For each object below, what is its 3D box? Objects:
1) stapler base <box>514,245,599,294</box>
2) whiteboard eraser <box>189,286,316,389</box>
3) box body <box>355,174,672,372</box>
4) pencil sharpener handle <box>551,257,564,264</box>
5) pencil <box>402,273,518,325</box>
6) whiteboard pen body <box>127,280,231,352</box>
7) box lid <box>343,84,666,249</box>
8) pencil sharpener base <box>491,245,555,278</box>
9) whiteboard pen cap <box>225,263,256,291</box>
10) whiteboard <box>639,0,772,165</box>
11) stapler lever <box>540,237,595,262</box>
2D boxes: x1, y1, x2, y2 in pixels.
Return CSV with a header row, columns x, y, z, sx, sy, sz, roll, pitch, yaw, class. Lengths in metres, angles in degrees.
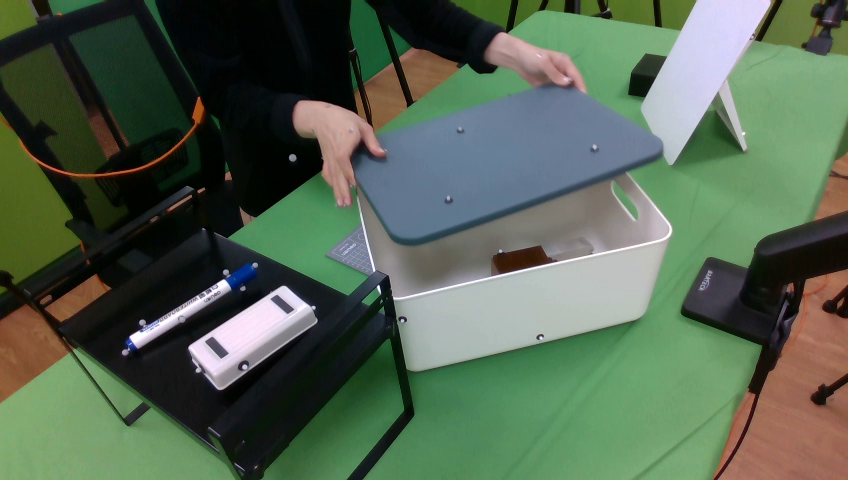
x,y,z,sx,sy,sz,roll,pitch,yaw,class
0.195,0.038,0.891,0.131,0.024,0.041,-22,45,-17,stapler base
-0.166,0.096,0.593,0.113,0.042,0.055,-36,47,-29,whiteboard eraser
0.108,0.013,0.834,0.365,0.161,0.252,-12,41,-6,box body
0.182,0.045,0.801,0.031,0.068,0.035,-15,52,-7,pencil sharpener handle
0.055,0.082,0.872,0.195,0.012,0.012,-21,42,-21,pencil
-0.248,0.072,0.645,0.141,0.017,0.017,-35,47,-23,whiteboard pen body
0.096,-0.114,0.799,0.373,0.015,0.261,-19,39,-12,box lid
0.135,0.069,0.801,0.077,0.107,0.061,-15,43,-8,pencil sharpener base
-0.204,0.041,0.668,0.033,0.018,0.018,-36,48,-22,whiteboard pen cap
0.543,-0.298,1.076,0.144,0.305,0.216,12,40,-7,whiteboard
0.194,0.018,0.874,0.118,0.040,0.026,-21,45,-17,stapler lever
